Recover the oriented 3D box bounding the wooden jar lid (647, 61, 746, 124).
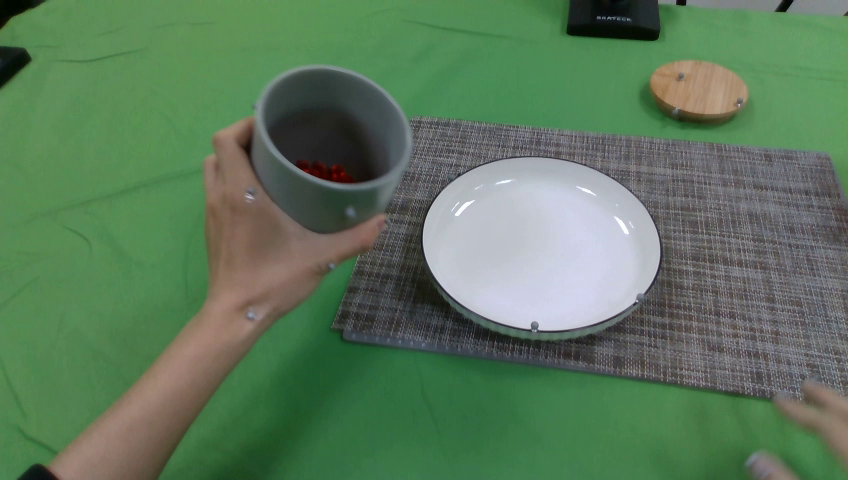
[{"bbox_3d":[0.314,-0.171,0.703,0.108,0.021,0.107,-1,50,2],"label":"wooden jar lid"}]

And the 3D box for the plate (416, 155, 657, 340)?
[{"bbox_3d":[0.097,0.006,0.542,0.207,0.039,0.205,-1,49,2],"label":"plate"}]

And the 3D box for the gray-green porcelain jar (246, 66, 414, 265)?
[{"bbox_3d":[-0.077,-0.047,0.456,0.106,0.127,0.105,10,58,-17],"label":"gray-green porcelain jar"}]
